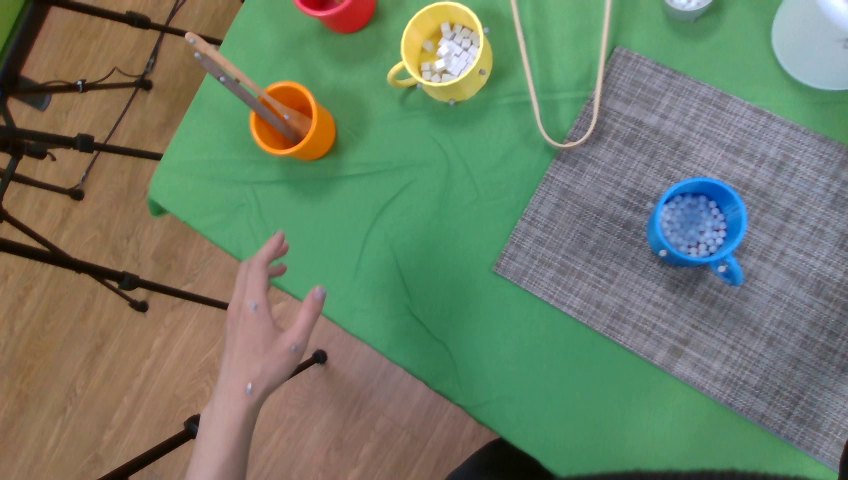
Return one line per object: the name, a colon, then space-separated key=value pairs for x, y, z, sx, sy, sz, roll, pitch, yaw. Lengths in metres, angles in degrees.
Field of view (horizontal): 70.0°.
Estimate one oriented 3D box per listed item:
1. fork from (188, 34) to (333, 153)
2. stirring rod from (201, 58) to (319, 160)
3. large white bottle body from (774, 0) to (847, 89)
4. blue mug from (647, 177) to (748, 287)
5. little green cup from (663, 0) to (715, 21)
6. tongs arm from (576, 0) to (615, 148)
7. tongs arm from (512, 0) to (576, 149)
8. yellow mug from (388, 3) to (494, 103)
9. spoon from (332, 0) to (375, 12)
fork: x=-0.198 y=-0.178 z=0.746 sx=0.209 sy=0.018 sz=0.028 roll=38 pitch=98 yaw=-29
stirring rod: x=-0.199 y=-0.158 z=0.748 sx=0.014 sy=0.178 sz=0.005 roll=-54 pitch=31 yaw=-8
large white bottle body: x=0.420 y=-0.230 z=0.561 sx=0.130 sy=0.185 sz=0.130 roll=-1 pitch=85 yaw=16
blue mug: x=0.286 y=-0.001 z=0.621 sx=0.082 sy=0.106 sz=0.116 roll=-35 pitch=78 yaw=10
little green cup: x=0.296 y=-0.277 z=0.675 sx=0.061 sy=0.039 sz=0.061 roll=-1 pitch=87 yaw=16
tongs arm: x=0.204 y=-0.299 z=0.685 sx=0.028 sy=0.028 sz=0.387 roll=5 pitch=94 yaw=7
tongs arm: x=0.122 y=-0.293 z=0.704 sx=0.050 sy=0.026 sz=0.384 roll=-9 pitch=91 yaw=11
yellow mug: x=0.016 y=-0.217 z=0.734 sx=0.131 sy=0.064 sz=0.099 roll=-23 pitch=81 yaw=14
spoon: x=-0.153 y=-0.321 z=0.747 sx=0.195 sy=0.021 sz=0.041 roll=6 pitch=86 yaw=-28
